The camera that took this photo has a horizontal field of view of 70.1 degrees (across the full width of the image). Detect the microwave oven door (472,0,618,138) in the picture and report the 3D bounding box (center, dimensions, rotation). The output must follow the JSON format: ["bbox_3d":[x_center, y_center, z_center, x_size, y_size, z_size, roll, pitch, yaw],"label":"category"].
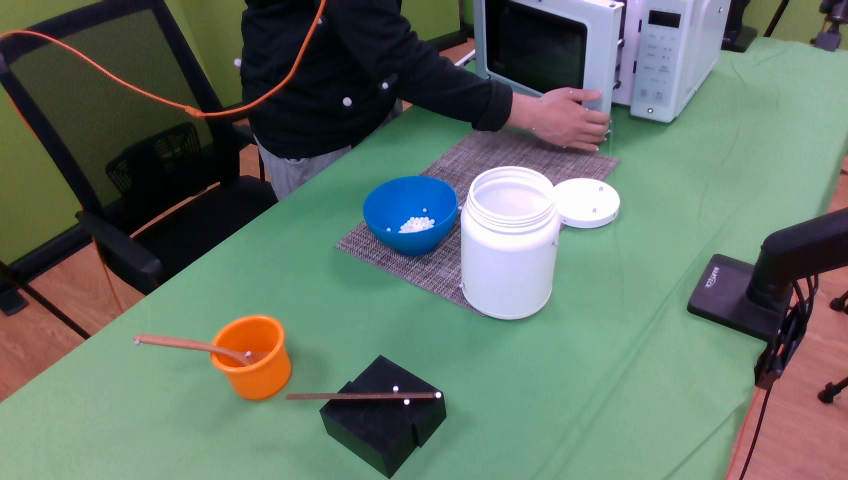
[{"bbox_3d":[0.222,-0.370,1.174,0.039,0.245,0.352,-30,45,-24],"label":"microwave oven door"}]

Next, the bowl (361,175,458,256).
[{"bbox_3d":[-0.019,-0.028,0.955,0.151,0.077,0.150,-4,40,4],"label":"bowl"}]

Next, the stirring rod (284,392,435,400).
[{"bbox_3d":[-0.075,0.180,0.698,0.176,0.006,0.014,-2,6,7],"label":"stirring rod"}]

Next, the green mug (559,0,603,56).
[{"bbox_3d":[0.333,-0.451,1.295,0.092,0.105,0.125,10,47,22],"label":"green mug"}]

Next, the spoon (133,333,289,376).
[{"bbox_3d":[-0.257,0.137,0.747,0.021,0.195,0.041,-47,40,23],"label":"spoon"}]

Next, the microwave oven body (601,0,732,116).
[{"bbox_3d":[0.377,-0.463,1.267,0.438,0.261,0.327,21,49,30],"label":"microwave oven body"}]

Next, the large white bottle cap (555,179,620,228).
[{"bbox_3d":[0.265,-0.062,1.001,0.115,0.018,0.114,-4,41,4],"label":"large white bottle cap"}]

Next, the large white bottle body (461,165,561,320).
[{"bbox_3d":[0.115,0.004,0.816,0.130,0.185,0.130,-2,43,2],"label":"large white bottle body"}]

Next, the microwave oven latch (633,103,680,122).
[{"bbox_3d":[0.443,-0.249,1.158,0.078,0.029,0.030,21,49,30],"label":"microwave oven latch"}]
